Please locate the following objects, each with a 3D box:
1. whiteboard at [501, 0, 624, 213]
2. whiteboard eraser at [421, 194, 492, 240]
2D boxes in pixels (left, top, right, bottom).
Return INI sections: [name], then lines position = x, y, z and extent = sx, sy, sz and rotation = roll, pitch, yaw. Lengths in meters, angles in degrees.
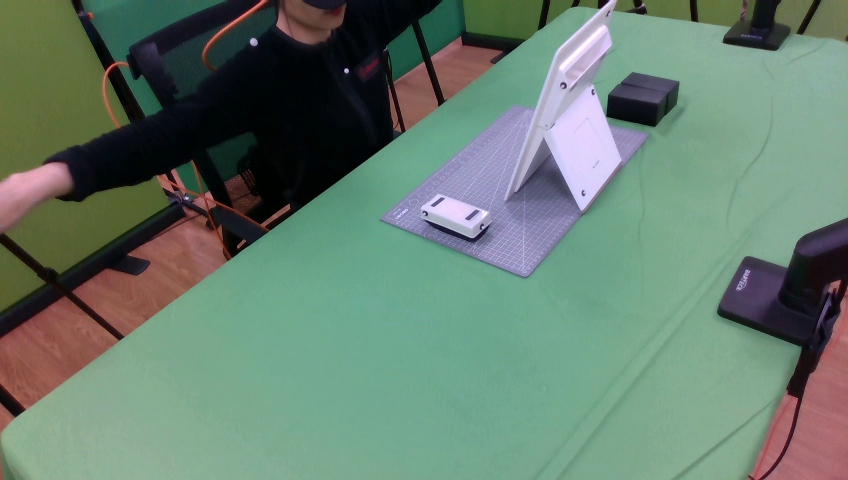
[whiteboard]
position = 0.271, -0.189, 0.977
extent = 0.143, 0.306, 0.218
rotation = 34, 53, 16
[whiteboard eraser]
position = 0.052, -0.037, 0.996
extent = 0.112, 0.042, 0.056
rotation = 23, 50, 32
